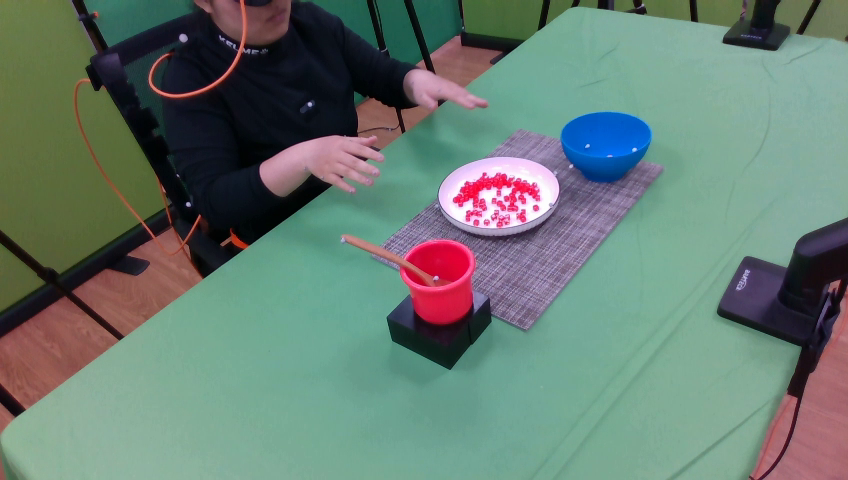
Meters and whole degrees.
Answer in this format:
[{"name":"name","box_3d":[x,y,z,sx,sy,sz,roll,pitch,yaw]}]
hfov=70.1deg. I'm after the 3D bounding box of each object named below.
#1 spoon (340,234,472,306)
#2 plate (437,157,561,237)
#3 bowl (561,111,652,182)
[{"name":"spoon","box_3d":[-0.020,0.036,0.770,0.195,0.021,0.041,31,37,-21]},{"name":"plate","box_3d":[0.127,-0.070,1.023,0.207,0.039,0.206,-5,40,5]},{"name":"bowl","box_3d":[0.314,-0.153,1.054,0.151,0.077,0.150,-5,40,5]}]
